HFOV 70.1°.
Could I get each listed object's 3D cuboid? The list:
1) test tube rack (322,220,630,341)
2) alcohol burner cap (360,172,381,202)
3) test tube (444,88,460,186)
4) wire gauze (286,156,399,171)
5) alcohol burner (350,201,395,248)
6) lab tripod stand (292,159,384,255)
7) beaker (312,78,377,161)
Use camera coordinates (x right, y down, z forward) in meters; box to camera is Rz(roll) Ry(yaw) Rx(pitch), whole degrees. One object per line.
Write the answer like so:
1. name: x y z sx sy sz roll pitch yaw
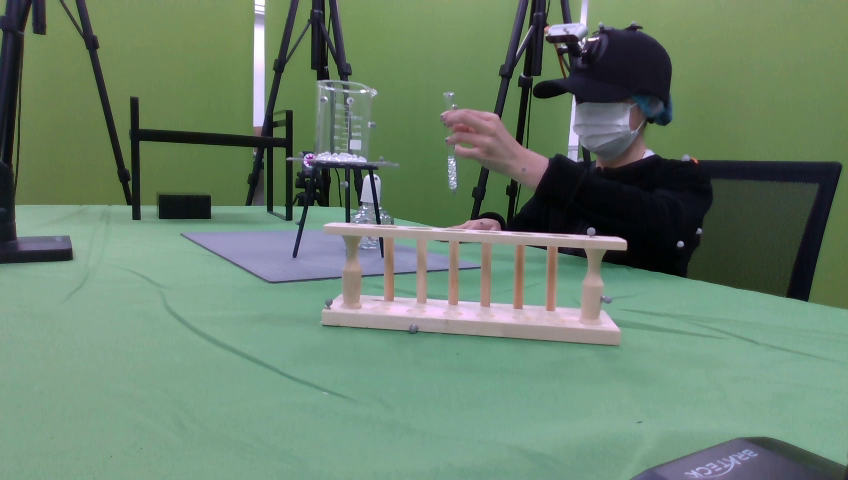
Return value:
1. test tube rack: 0.041 0.029 0.512 0.242 0.085 0.067 3 7 5
2. alcohol burner cap: -0.081 -0.084 0.949 0.034 0.048 0.034 7 7 -1
3. test tube: 0.042 -0.154 0.915 0.017 0.150 0.017 -4 23 2
4. wire gauze: -0.101 -0.103 0.788 0.121 0.011 0.125 5 4 6
5. alcohol burner: -0.084 -0.048 0.953 0.078 0.119 0.078 1 6 0
6. lab tripod stand: -0.105 -0.039 0.797 0.148 0.131 0.148 2 5 0
7. beaker: -0.103 -0.151 0.775 0.084 0.100 0.074 5 7 14
